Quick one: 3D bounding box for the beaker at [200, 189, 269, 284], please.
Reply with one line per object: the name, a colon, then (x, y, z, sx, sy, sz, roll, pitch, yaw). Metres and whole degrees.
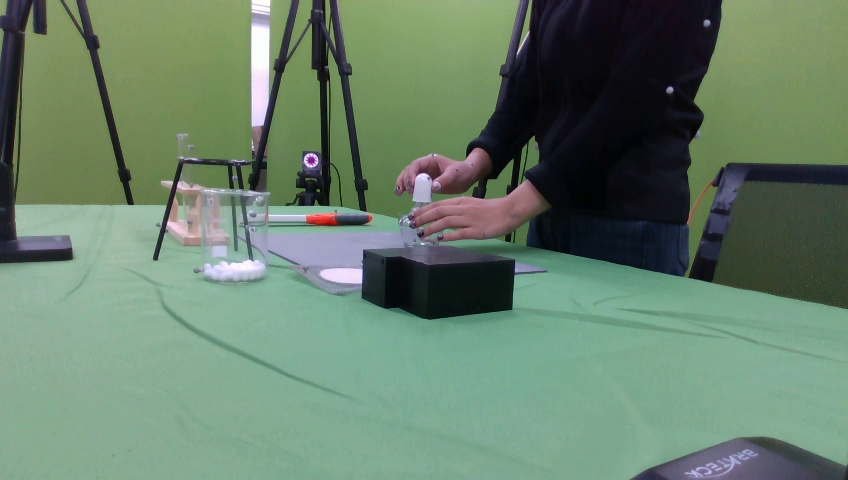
beaker: (-0.209, -0.006, 0.676, 0.073, 0.100, 0.084, 7, 8, 28)

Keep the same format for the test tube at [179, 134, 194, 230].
test tube: (-0.366, -0.089, 0.938, 0.017, 0.150, 0.017, -1, 9, 1)

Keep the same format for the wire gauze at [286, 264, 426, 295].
wire gauze: (-0.079, 0.039, 0.692, 0.122, 0.011, 0.124, -4, 11, -37)

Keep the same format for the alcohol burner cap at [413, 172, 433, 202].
alcohol burner cap: (-0.001, -0.086, 0.967, 0.034, 0.048, 0.034, 3, 13, 0)

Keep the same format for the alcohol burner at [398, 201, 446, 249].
alcohol burner: (-0.003, -0.046, 0.973, 0.078, 0.119, 0.078, 0, 7, 0)

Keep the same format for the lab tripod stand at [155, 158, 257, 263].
lab tripod stand: (-0.275, -0.041, 0.797, 0.148, 0.131, 0.148, 2, 9, 0)

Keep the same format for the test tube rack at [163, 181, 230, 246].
test tube rack: (-0.387, -0.050, 1.015, 0.067, 0.085, 0.241, -2, 9, -30)

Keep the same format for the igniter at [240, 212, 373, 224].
igniter: (-0.237, -0.045, 1.250, 0.278, 0.025, 0.057, -2, -2, -31)
